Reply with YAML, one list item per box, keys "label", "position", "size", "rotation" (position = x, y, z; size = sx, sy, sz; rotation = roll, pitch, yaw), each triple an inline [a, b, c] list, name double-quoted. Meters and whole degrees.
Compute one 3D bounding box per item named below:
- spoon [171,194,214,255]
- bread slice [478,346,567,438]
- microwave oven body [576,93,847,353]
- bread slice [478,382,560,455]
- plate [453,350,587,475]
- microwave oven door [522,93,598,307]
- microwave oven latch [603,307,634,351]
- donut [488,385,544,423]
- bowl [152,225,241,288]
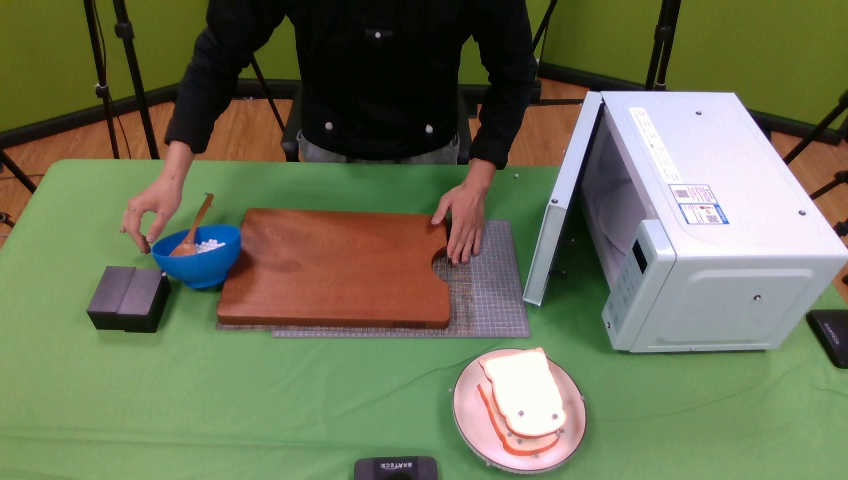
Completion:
- label: "spoon"
  position: [-0.425, -0.024, 1.131]
  size: [0.041, 0.022, 0.192]
  rotation: [4, 48, 4]
- label: "bread slice"
  position: [0.152, 0.226, 0.901]
  size: [0.107, 0.018, 0.133]
  rotation: [-11, 54, -16]
- label: "microwave oven body"
  position: [0.475, -0.041, 1.109]
  size: [0.326, 0.261, 0.438]
  rotation: [-1, 45, -4]
- label: "bread slice"
  position: [0.154, 0.268, 0.943]
  size: [0.105, 0.019, 0.130]
  rotation: [-10, 47, -12]
- label: "plate"
  position: [0.146, 0.267, 0.943]
  size: [0.208, 0.039, 0.206]
  rotation: [2, 46, -2]
- label: "microwave oven door"
  position: [0.259, -0.084, 1.127]
  size: [0.039, 0.245, 0.354]
  rotation: [17, 47, 12]
- label: "microwave oven latch"
  position: [0.332, 0.153, 1.044]
  size: [0.030, 0.029, 0.078]
  rotation: [0, 45, -3]
- label: "donut"
  position: [0.147, 0.242, 0.927]
  size: [0.099, 0.048, 0.098]
  rotation: [-2, 42, 2]
- label: "bowl"
  position: [-0.396, 0.034, 1.081]
  size: [0.151, 0.077, 0.151]
  rotation: [-6, 21, 2]
